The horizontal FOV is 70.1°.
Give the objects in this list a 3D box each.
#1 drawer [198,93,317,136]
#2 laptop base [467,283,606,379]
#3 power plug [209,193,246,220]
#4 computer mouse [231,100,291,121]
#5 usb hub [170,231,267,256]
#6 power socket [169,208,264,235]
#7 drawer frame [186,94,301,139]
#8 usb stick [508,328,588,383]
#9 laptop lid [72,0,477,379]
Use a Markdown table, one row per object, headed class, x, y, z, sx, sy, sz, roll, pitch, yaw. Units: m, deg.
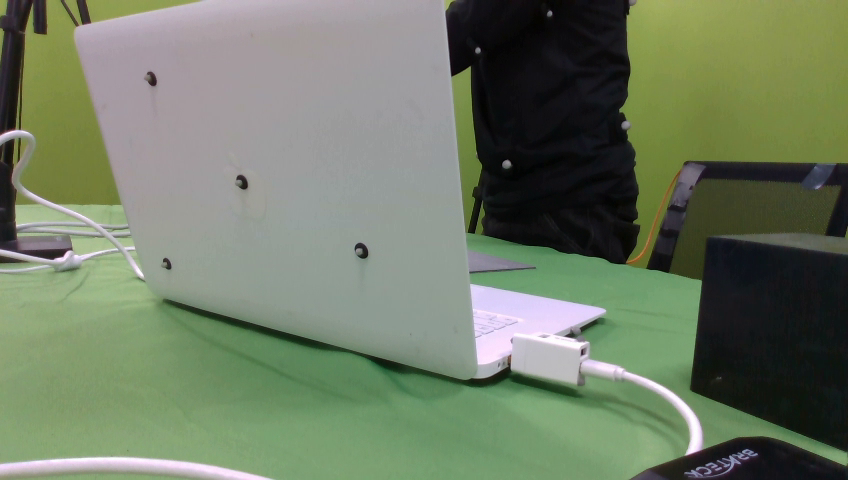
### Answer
| class | x | y | z | sx | sy | sz | roll | pitch | yaw |
| --- | --- | --- | --- | --- | --- | --- | --- | --- | --- |
| drawer | -0.360 | -0.265 | 1.294 | 0.195 | 0.073 | 0.210 | -3 | 11 | -33 |
| laptop base | -0.042 | 0.058 | 0.554 | 0.352 | 0.023 | 0.237 | 8 | 7 | 35 |
| power plug | -0.388 | -0.067 | 1.205 | 0.072 | 0.052 | 0.035 | 4 | 8 | 27 |
| computer mouse | -0.338 | -0.268 | 1.254 | 0.118 | 0.041 | 0.062 | -11 | 21 | -35 |
| usb hub | -0.290 | 0.005 | 0.862 | 0.049 | 0.025 | 0.126 | 10 | 11 | 42 |
| power socket | -0.381 | -0.038 | 1.128 | 0.072 | 0.032 | 0.227 | 4 | 8 | 16 |
| drawer frame | -0.413 | -0.276 | 1.372 | 0.203 | 0.082 | 0.212 | -3 | 8 | -33 |
| usb stick | 0.072 | 0.071 | 0.383 | 0.059 | 0.027 | 0.021 | 2 | 2 | 34 |
| laptop lid | -0.125 | -0.042 | 0.417 | 0.355 | 0.241 | 0.013 | 9 | 25 | 34 |
